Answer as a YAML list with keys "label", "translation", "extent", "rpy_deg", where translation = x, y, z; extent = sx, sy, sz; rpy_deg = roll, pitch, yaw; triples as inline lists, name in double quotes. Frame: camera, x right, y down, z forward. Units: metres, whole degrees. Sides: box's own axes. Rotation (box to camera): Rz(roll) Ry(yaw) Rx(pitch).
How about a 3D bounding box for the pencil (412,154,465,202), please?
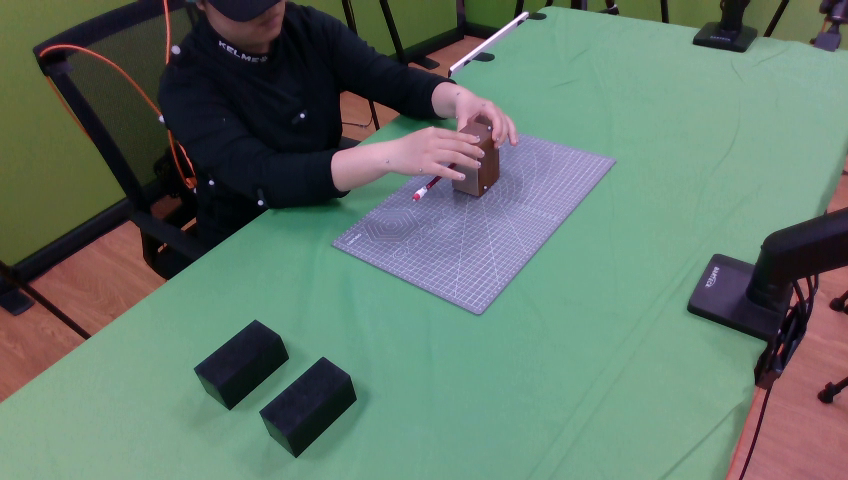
- label: "pencil"
  translation: [0.039, -0.116, 0.987]
  extent: [0.012, 0.012, 0.194]
  rpy_deg: [20, 46, 29]

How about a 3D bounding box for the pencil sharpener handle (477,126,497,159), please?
- label: "pencil sharpener handle"
  translation: [0.118, -0.179, 1.075]
  extent: [0.035, 0.068, 0.031]
  rpy_deg: [22, 48, 27]

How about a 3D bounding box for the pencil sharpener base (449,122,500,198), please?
- label: "pencil sharpener base"
  translation: [0.090, -0.140, 1.052]
  extent: [0.061, 0.107, 0.077]
  rpy_deg: [20, 47, 29]
